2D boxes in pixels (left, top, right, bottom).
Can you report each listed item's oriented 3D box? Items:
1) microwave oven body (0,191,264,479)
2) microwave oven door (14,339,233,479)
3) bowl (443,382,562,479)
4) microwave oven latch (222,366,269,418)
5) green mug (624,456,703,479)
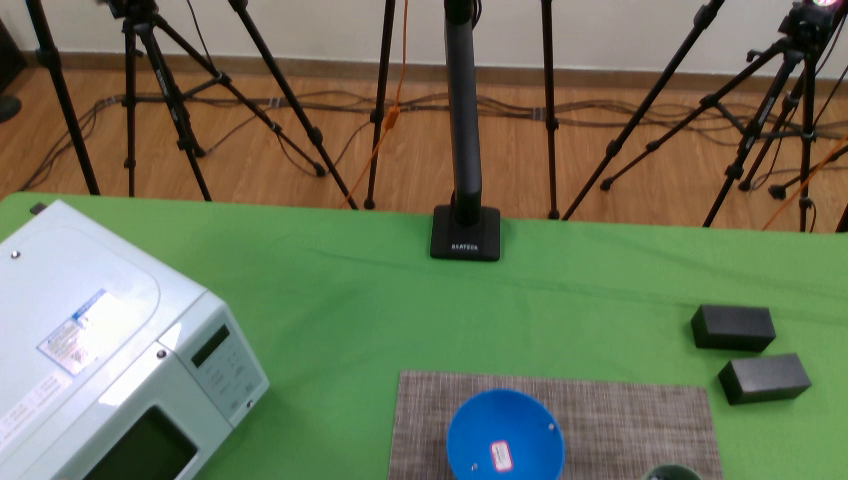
[{"bbox_3d":[-0.477,0.212,0.740,0.324,0.262,0.440,27,59,18],"label":"microwave oven body"},{"bbox_3d":[-0.377,0.299,0.669,0.039,0.246,0.354,26,58,20],"label":"microwave oven door"},{"bbox_3d":[0.099,0.273,0.800,0.151,0.077,0.150,0,54,1],"label":"bowl"},{"bbox_3d":[-0.255,0.210,0.858,0.030,0.030,0.079,29,60,19],"label":"microwave oven latch"},{"bbox_3d":[0.306,0.326,0.742,0.125,0.106,0.092,19,56,14],"label":"green mug"}]
